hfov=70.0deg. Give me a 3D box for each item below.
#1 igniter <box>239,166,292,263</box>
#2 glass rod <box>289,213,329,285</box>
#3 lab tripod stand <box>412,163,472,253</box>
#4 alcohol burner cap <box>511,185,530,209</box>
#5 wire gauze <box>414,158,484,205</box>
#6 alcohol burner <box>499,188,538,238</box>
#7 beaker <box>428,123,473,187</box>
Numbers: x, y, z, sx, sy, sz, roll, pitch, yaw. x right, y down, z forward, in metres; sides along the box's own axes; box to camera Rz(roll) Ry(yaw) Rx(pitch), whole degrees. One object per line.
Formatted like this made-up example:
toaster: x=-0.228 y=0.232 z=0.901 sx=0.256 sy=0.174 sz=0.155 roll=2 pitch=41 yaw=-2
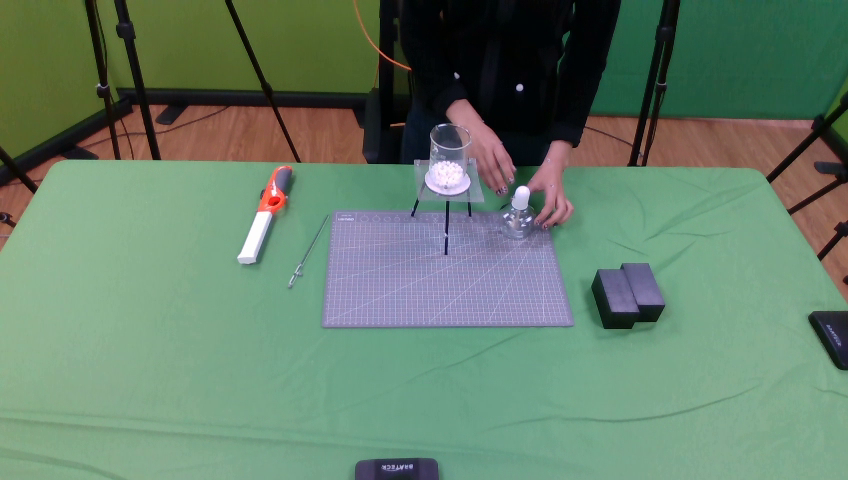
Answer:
igniter: x=-0.318 y=-0.060 z=1.229 sx=0.057 sy=0.025 sz=0.275 roll=-2 pitch=45 yaw=10
glass rod: x=-0.221 y=0.014 z=1.179 sx=0.008 sy=0.008 sz=0.199 roll=12 pitch=46 yaw=8
lab tripod stand: x=0.043 y=-0.070 z=1.187 sx=0.148 sy=0.132 sz=0.147 roll=3 pitch=47 yaw=-3
alcohol burner cap: x=0.190 y=-0.086 z=1.177 sx=0.034 sy=0.048 sz=0.033 roll=4 pitch=51 yaw=-4
wire gauze: x=0.045 y=-0.113 z=1.137 sx=0.125 sy=0.011 sz=0.120 roll=1 pitch=48 yaw=-6
alcohol burner: x=0.189 y=-0.060 z=1.202 sx=0.078 sy=0.120 sz=0.077 roll=1 pitch=48 yaw=-1
beaker: x=0.044 y=-0.154 z=1.109 sx=0.074 sy=0.101 sz=0.083 roll=-25 pitch=54 yaw=-25
